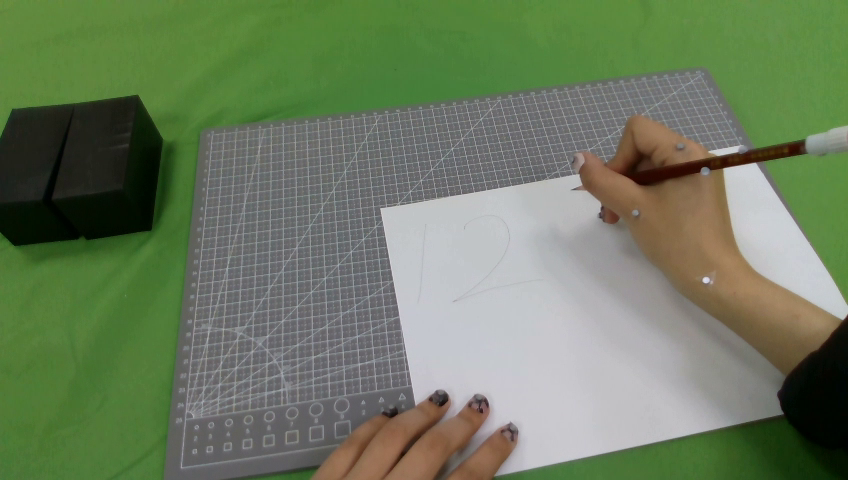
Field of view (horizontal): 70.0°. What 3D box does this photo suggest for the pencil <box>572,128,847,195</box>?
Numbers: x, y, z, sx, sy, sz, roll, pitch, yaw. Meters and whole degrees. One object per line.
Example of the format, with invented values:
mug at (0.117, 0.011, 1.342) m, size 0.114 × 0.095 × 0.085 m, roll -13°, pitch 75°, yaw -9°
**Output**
pencil at (0.157, -0.041, 0.357) m, size 0.012 × 0.193 × 0.012 m, roll 2°, pitch 85°, yaw -30°
